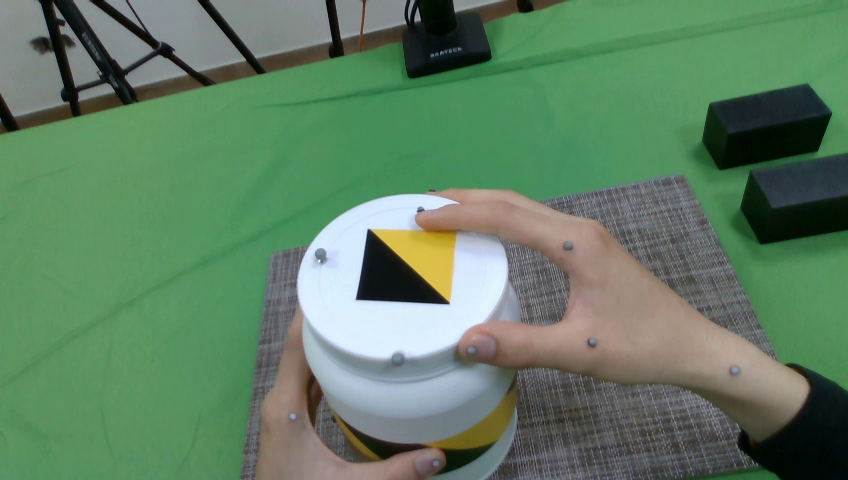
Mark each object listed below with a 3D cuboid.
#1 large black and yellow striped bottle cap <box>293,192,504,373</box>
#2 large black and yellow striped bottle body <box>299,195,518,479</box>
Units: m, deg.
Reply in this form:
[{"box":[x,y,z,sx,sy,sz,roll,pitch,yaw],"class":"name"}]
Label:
[{"box":[-0.014,0.018,0.331,0.115,0.019,0.114,-2,49,3],"class":"large black and yellow striped bottle cap"},{"box":[-0.005,0.072,0.394,0.131,0.186,0.129,-3,49,4],"class":"large black and yellow striped bottle body"}]
